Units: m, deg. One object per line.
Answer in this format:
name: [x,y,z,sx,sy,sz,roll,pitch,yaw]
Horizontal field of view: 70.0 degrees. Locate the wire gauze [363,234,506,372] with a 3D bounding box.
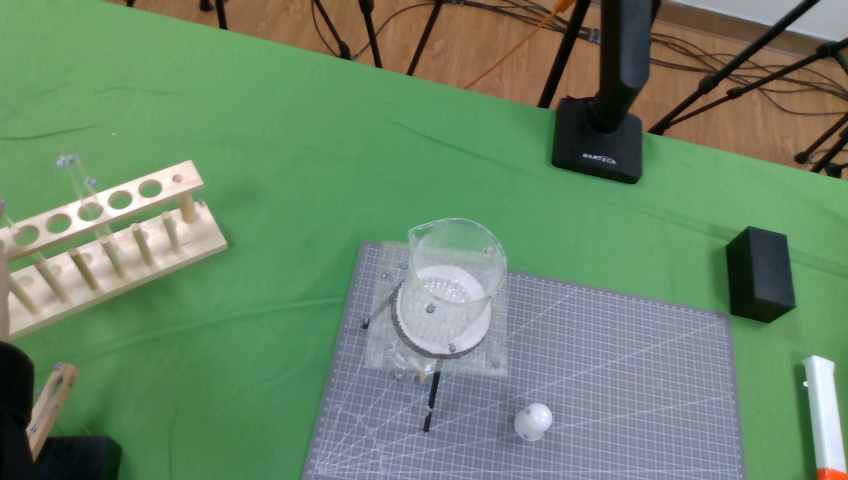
wire gauze: [0.013,0.055,0.535,0.121,0.011,0.124,6,64,-4]

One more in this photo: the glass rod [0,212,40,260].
glass rod: [-0.379,-0.020,0.541,0.008,0.201,0.008,2,56,-2]

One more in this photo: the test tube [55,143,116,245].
test tube: [-0.321,-0.038,0.581,0.017,0.151,0.017,5,56,-7]

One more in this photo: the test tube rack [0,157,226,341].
test tube rack: [-0.334,0.008,0.610,0.242,0.086,0.066,-26,68,-21]

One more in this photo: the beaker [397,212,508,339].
beaker: [0.015,0.032,0.492,0.083,0.101,0.074,34,62,10]

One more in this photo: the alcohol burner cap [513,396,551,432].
alcohol burner cap: [0.111,0.175,0.613,0.034,0.048,0.033,3,63,-5]

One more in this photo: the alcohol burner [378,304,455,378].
alcohol burner: [-0.004,0.093,0.598,0.078,0.120,0.077,5,60,-8]

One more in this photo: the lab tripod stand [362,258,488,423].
lab tripod stand: [0.007,0.091,0.590,0.149,0.132,0.147,5,61,-8]

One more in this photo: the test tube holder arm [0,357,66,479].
test tube holder arm: [-0.335,0.182,0.497,0.013,0.015,0.177,13,59,-1]

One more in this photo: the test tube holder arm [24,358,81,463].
test tube holder arm: [-0.321,0.145,0.520,0.010,0.015,0.087,13,59,-1]

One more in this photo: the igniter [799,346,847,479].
igniter: [0.427,0.244,0.637,0.057,0.025,0.274,19,60,-10]
